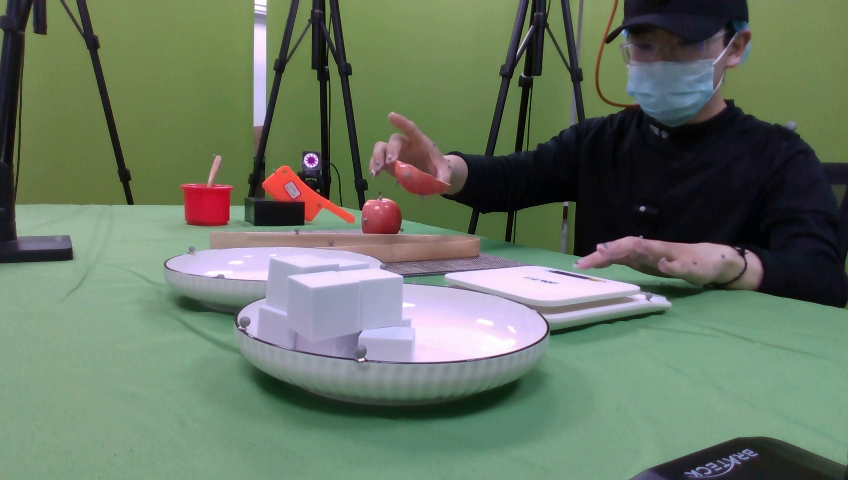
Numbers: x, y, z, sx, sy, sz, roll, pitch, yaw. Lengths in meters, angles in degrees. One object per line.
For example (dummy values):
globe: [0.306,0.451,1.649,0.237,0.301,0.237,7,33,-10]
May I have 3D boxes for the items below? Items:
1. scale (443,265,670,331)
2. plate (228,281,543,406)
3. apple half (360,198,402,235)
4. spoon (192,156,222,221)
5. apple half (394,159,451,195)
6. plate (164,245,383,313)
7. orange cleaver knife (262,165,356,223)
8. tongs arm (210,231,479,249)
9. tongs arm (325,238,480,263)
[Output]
scale: [0.131,0.052,0.603,0.202,0.031,0.148,-2,9,-37]
plate: [-0.025,0.067,0.413,0.208,0.039,0.207,3,7,0]
apple half: [-0.066,-0.033,1.014,0.053,0.074,0.081,9,6,21]
spoon: [-0.430,-0.108,1.222,0.041,0.021,0.193,-1,52,0]
apple half: [-0.006,-0.074,0.786,0.081,0.033,0.081,26,1,0]
plate: [-0.145,0.038,0.600,0.209,0.038,0.209,2,7,0]
orange cleaver knife: [-0.243,-0.081,1.292,0.212,0.077,0.012,34,-8,-26]
tongs arm: [-0.106,0.005,0.876,0.386,0.026,0.050,1,7,-20]
tongs arm: [-0.071,0.017,0.800,0.390,0.028,0.028,-2,4,-34]
